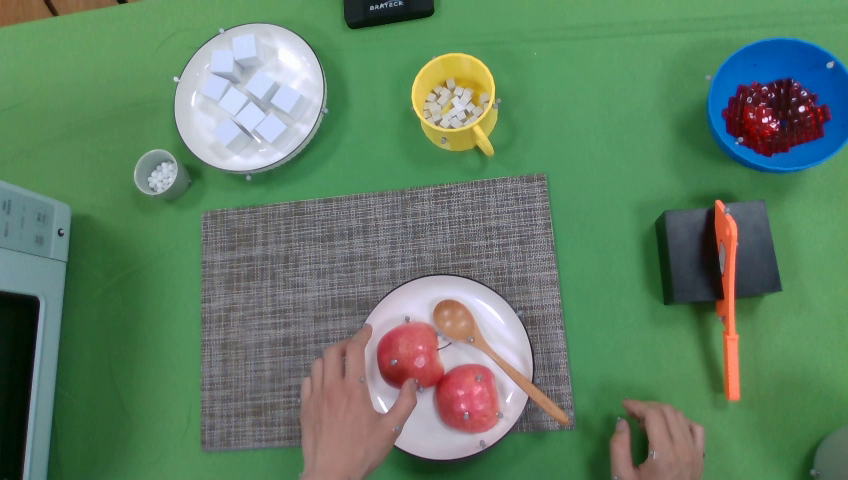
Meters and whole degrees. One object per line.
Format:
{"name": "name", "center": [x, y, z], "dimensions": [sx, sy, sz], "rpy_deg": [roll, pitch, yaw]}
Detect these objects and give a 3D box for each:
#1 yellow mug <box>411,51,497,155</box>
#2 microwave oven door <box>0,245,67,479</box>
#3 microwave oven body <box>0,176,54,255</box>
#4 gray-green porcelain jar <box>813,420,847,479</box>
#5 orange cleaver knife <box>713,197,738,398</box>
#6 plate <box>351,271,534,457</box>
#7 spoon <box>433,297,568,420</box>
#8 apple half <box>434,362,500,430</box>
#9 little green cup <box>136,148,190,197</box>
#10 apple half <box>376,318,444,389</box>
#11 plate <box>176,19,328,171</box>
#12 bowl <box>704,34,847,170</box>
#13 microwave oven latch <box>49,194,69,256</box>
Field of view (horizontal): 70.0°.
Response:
{"name": "yellow mug", "center": [0.046, -0.158, 0.738], "dimensions": [0.100, 0.064, 0.130], "rpy_deg": [-34, 77, 1]}
{"name": "microwave oven door", "center": [-0.503, 0.176, 0.655], "dimensions": [0.039, 0.245, 0.354], "rpy_deg": [-3, 79, 9]}
{"name": "microwave oven body", "center": [-0.647, 0.142, 0.690], "dimensions": [0.325, 0.261, 0.440], "rpy_deg": [-2, 80, 8]}
{"name": "gray-green porcelain jar", "center": [0.443, 0.225, 0.571], "dimensions": [0.105, 0.127, 0.105], "rpy_deg": [-2, 78, 9]}
{"name": "orange cleaver knife", "center": [0.319, 0.061, 0.644], "dimensions": [0.012, 0.077, 0.212], "rpy_deg": [-4, 102, 13]}
{"name": "plate", "center": [0.021, 0.140, 0.697], "dimensions": [0.209, 0.038, 0.208], "rpy_deg": [-1, 80, 9]}
{"name": "spoon", "center": [0.083, 0.132, 0.676], "dimensions": [0.041, 0.022, 0.192], "rpy_deg": [-43, 63, -13]}
{"name": "apple half", "center": [0.047, 0.176, 0.680], "dimensions": [0.081, 0.033, 0.081], "rpy_deg": [-3, 76, 10]}
{"name": "little green cup", "center": [-0.342, -0.087, 0.801], "dimensions": [0.061, 0.039, 0.061], "rpy_deg": [-1, 80, 8]}
{"name": "apple half", "center": [-0.018, 0.130, 0.690], "dimensions": [0.074, 0.053, 0.080], "rpy_deg": [-9, 78, 10]}
{"name": "plate", "center": [-0.223, -0.189, 0.802], "dimensions": [0.207, 0.039, 0.206], "rpy_deg": [-2, 79, 9]}
{"name": "bowl", "center": [0.383, -0.141, 0.673], "dimensions": [0.151, 0.077, 0.151], "rpy_deg": [-2, 80, 9]}
{"name": "microwave oven latch", "center": [-0.487, -0.019, 0.794], "dimensions": [0.030, 0.029, 0.079], "rpy_deg": [-1, 80, 9]}
